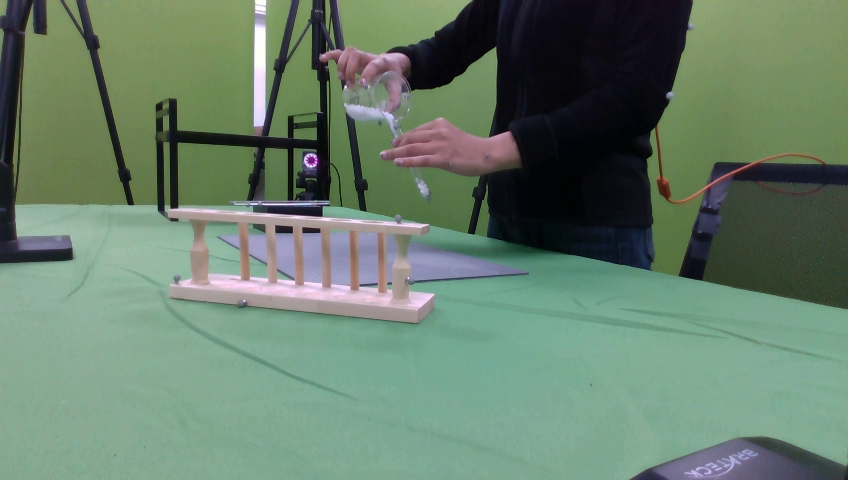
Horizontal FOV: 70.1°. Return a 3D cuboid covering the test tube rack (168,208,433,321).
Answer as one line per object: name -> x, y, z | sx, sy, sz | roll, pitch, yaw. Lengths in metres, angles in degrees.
test tube rack -> -0.115, 0.017, 0.574 | 0.242, 0.085, 0.067 | 4, 8, 13

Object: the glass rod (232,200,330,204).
glass rod -> -0.266, -0.072, 1.146 | 0.201, 0.008, 0.008 | -4, 10, -40

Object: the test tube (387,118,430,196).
test tube -> -0.024, -0.126, 0.910 | 0.017, 0.149, 0.017 | -19, -28, -10

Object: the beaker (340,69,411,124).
beaker -> -0.081, -0.227, 0.972 | 0.074, 0.084, 0.100 | -4, 9, -41
